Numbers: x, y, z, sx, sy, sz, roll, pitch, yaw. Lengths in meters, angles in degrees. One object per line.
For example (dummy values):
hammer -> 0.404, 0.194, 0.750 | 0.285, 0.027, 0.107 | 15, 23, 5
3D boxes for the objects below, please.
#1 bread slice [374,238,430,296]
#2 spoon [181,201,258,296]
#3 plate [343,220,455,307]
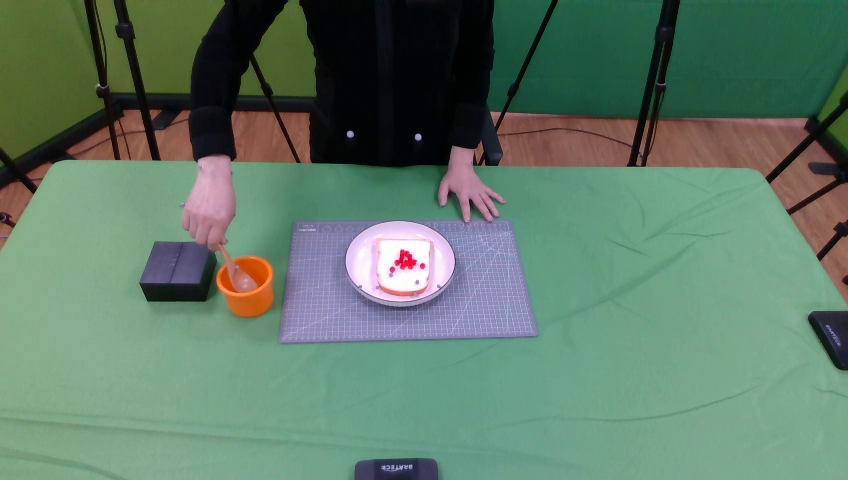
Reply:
bread slice -> -0.039, 0.047, 1.135 | 0.107, 0.018, 0.133 | -1, 47, -4
spoon -> -0.343, 0.015, 1.016 | 0.021, 0.194, 0.041 | -24, 13, 30
plate -> -0.047, 0.046, 1.135 | 0.209, 0.038, 0.208 | 2, 46, -2
